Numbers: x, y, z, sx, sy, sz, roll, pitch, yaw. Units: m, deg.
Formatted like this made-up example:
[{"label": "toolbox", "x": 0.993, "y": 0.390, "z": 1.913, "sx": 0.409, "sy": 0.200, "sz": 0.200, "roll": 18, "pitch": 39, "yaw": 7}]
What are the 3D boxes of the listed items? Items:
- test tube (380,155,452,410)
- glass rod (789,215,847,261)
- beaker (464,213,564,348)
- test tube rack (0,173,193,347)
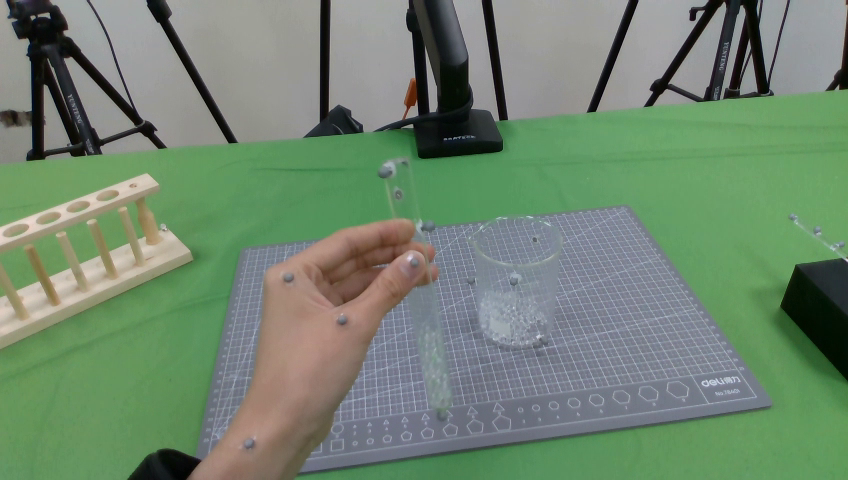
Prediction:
[{"label": "test tube", "x": -0.003, "y": 0.027, "z": 0.336, "sx": 0.017, "sy": 0.151, "sz": 0.017, "roll": -10, "pitch": 16, "yaw": 3}, {"label": "glass rod", "x": 0.385, "y": 0.032, "z": 0.512, "sx": 0.008, "sy": 0.008, "sz": 0.197, "roll": -12, "pitch": 37, "yaw": -11}, {"label": "beaker", "x": 0.077, "y": 0.038, "z": 0.532, "sx": 0.083, "sy": 0.101, "sz": 0.073, "roll": 7, "pitch": 37, "yaw": 16}, {"label": "test tube rack", "x": -0.369, "y": 0.024, "z": 0.602, "sx": 0.242, "sy": 0.086, "sz": 0.066, "roll": -29, "pitch": 44, "yaw": -31}]
